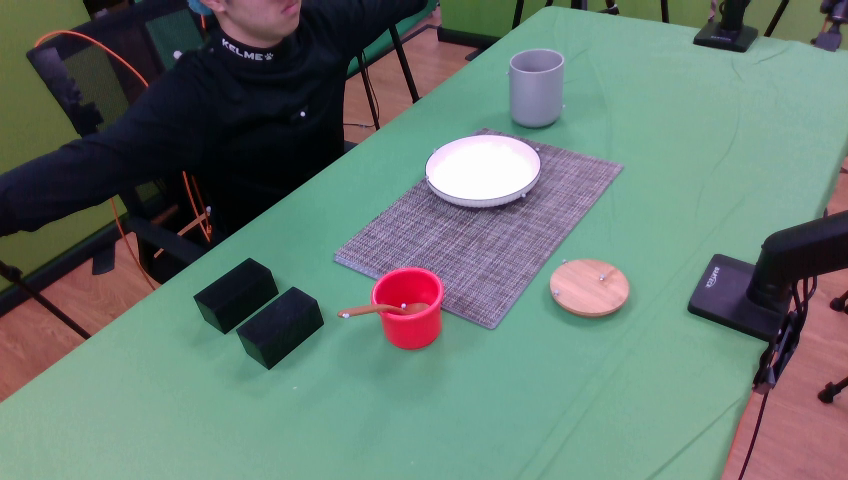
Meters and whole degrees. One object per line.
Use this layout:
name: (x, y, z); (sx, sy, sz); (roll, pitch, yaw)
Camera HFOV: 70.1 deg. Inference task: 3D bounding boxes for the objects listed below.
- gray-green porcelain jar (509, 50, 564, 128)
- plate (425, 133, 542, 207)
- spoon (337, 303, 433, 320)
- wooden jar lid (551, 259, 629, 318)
gray-green porcelain jar: (0.222, -0.297, 1.204); (0.106, 0.127, 0.105); (-4, 41, 4)
plate: (0.106, -0.122, 1.079); (0.207, 0.039, 0.206); (-4, 41, 4)
spoon: (-0.048, 0.091, 0.777); (0.041, 0.021, 0.195); (24, 5, 32)
wooden jar lid: (0.234, 0.070, 0.857); (0.108, 0.021, 0.108); (-5, 40, 4)
